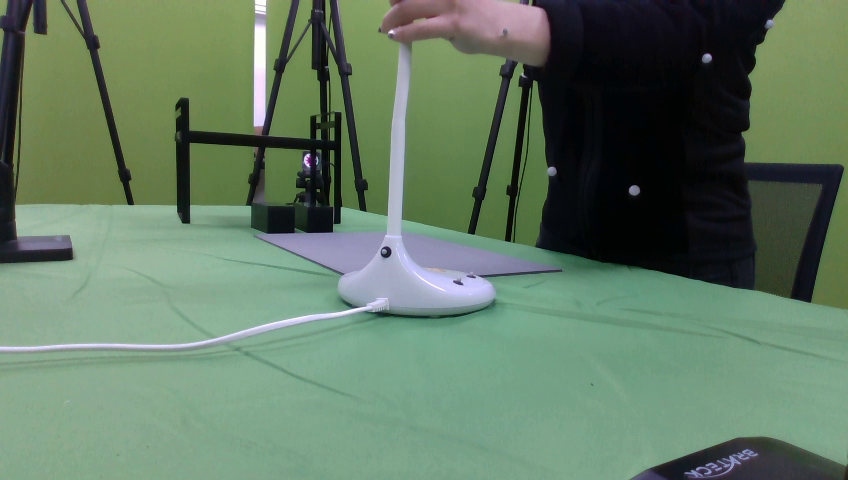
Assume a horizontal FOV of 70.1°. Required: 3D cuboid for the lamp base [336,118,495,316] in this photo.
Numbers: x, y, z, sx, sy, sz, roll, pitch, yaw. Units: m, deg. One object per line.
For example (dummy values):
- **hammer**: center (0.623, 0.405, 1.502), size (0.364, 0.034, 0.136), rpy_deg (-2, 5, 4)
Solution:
- **lamp base**: center (-0.010, -0.026, 0.589), size (0.160, 0.180, 0.179), rpy_deg (4, 10, 14)
